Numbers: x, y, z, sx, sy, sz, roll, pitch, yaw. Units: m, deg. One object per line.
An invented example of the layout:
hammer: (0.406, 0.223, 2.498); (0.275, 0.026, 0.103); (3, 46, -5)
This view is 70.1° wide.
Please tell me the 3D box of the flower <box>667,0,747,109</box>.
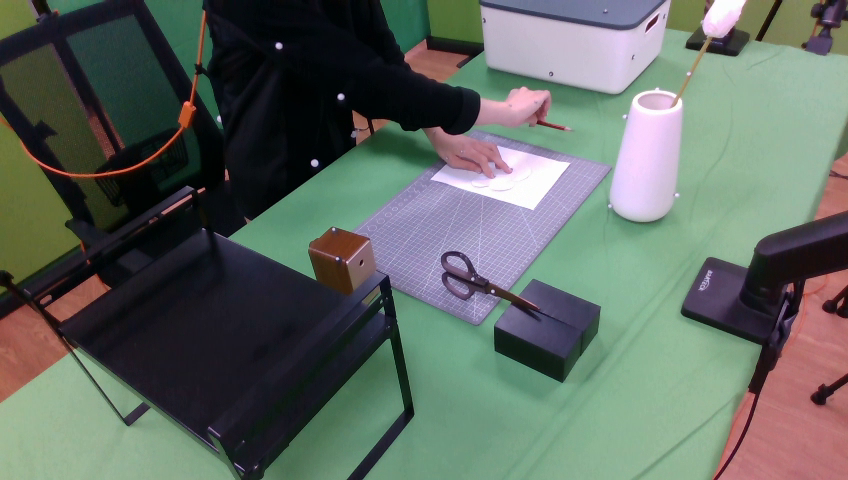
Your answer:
flower: (0.354, -0.187, 0.879); (0.038, 0.362, 0.044); (31, 48, 14)

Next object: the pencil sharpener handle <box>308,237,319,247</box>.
pencil sharpener handle: (-0.159, 0.017, 0.892); (0.030, 0.068, 0.036); (18, 60, 28)

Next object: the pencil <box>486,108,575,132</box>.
pencil: (0.205, -0.232, 1.177); (0.192, 0.012, 0.012); (22, 48, 30)

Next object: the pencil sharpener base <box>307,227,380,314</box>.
pencil sharpener base: (-0.116, 0.043, 0.875); (0.076, 0.107, 0.061); (18, 47, 27)

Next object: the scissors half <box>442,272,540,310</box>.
scissors half: (0.089, 0.074, 0.832); (0.013, 0.040, 0.173); (-24, 23, -38)

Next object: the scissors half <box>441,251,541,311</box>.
scissors half: (0.087, 0.056, 0.824); (0.173, 0.040, 0.013); (29, 44, 36)

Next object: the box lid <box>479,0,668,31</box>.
box lid: (0.335, -0.536, 1.331); (0.368, 0.015, 0.264); (23, 49, 30)

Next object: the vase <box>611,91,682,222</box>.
vase: (0.348, -0.125, 0.935); (0.098, 0.201, 0.097); (-3, 40, 3)

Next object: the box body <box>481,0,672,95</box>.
box body: (0.341, -0.480, 1.381); (0.361, 0.161, 0.255); (22, 48, 30)
